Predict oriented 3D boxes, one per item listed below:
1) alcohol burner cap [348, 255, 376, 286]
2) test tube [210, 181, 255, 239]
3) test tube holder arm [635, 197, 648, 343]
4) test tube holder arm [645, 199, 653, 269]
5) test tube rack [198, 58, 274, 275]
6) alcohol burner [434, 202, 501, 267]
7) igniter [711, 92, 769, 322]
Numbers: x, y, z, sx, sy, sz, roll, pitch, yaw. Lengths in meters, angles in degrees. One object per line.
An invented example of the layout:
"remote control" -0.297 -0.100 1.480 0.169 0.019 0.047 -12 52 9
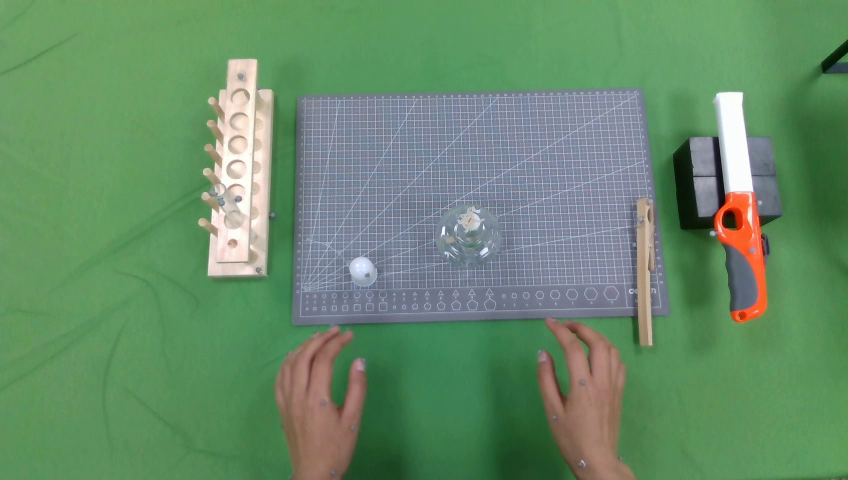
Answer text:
"alcohol burner cap" -0.074 0.033 0.711 0.034 0.048 0.033 0 75 0
"test tube" -0.204 -0.029 0.654 0.017 0.151 0.017 1 73 -4
"test tube holder arm" 0.261 0.035 0.724 0.013 0.015 0.177 15 73 -28
"test tube holder arm" 0.270 -0.007 0.738 0.010 0.015 0.087 15 73 -28
"test tube rack" -0.226 -0.085 0.718 0.067 0.085 0.241 -1 76 0
"alcohol burner" 0.050 -0.010 0.687 0.078 0.119 0.077 0 77 1
"igniter" 0.361 -0.043 0.700 0.057 0.025 0.275 0 75 6
